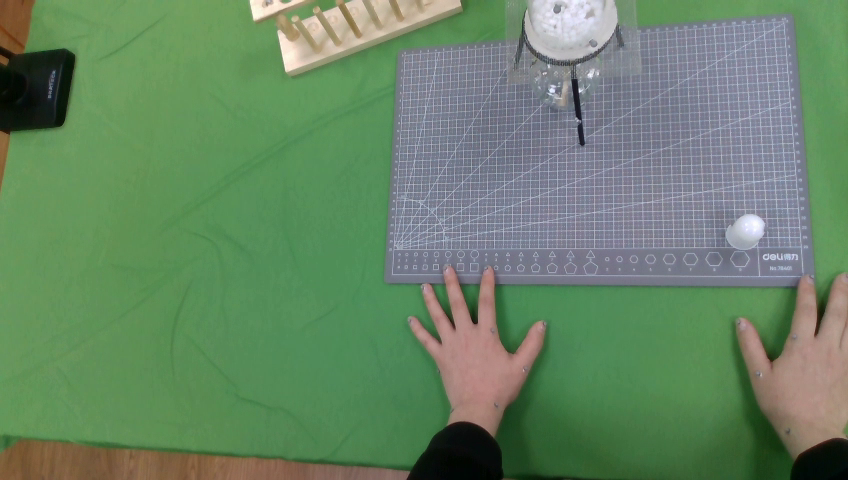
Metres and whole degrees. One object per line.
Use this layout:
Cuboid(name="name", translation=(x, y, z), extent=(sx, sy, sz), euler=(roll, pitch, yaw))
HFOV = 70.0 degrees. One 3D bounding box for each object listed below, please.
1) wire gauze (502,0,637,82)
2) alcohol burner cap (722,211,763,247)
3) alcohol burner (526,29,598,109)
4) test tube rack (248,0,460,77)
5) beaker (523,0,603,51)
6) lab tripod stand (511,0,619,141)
Cuboid(name="wire gauze", translation=(0.137, -0.210, 0.578), extent=(0.125, 0.011, 0.121), euler=(-1, 81, 12))
Cuboid(name="alcohol burner cap", translation=(0.320, -0.014, 0.606), extent=(0.034, 0.048, 0.033), euler=(-3, 77, 14))
Cuboid(name="alcohol burner", translation=(0.148, -0.190, 0.651), extent=(0.078, 0.120, 0.077), euler=(-3, 77, 13))
Cuboid(name="test tube rack", translation=(-0.086, -0.291, 0.753), extent=(0.242, 0.086, 0.066), euler=(-18, 74, 10))
Cuboid(name="beaker", translation=(0.120, -0.221, 0.534), extent=(0.083, 0.101, 0.074), euler=(13, 82, 17))
Cuboid(name="lab tripod stand", translation=(0.153, -0.195, 0.640), extent=(0.148, 0.132, 0.147), euler=(-3, 78, 13))
